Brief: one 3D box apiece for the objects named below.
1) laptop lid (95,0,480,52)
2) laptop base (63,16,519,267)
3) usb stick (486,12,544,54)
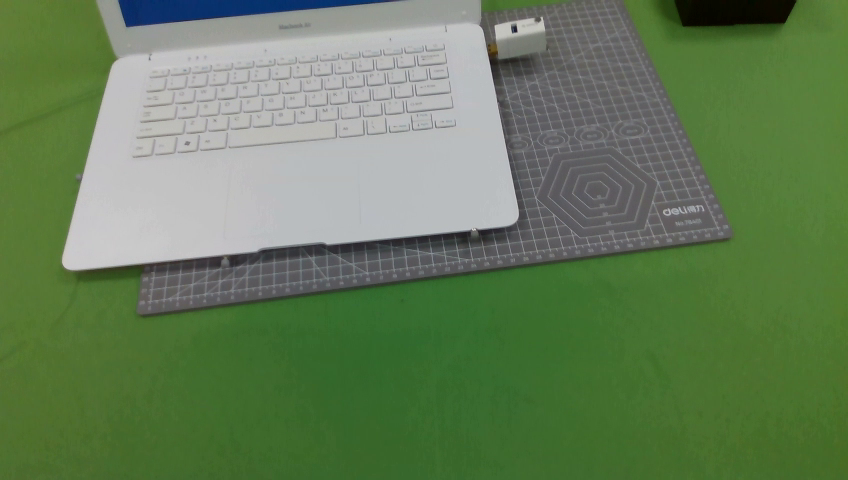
[{"bbox_3d":[-0.130,-0.291,0.521,0.357,0.244,0.013,-7,33,0],"label":"laptop lid"},{"bbox_3d":[-0.111,-0.093,0.523,0.354,0.023,0.233,-6,61,-1],"label":"laptop base"},{"bbox_3d":[0.079,-0.188,0.554,0.059,0.027,0.021,-9,60,11],"label":"usb stick"}]
